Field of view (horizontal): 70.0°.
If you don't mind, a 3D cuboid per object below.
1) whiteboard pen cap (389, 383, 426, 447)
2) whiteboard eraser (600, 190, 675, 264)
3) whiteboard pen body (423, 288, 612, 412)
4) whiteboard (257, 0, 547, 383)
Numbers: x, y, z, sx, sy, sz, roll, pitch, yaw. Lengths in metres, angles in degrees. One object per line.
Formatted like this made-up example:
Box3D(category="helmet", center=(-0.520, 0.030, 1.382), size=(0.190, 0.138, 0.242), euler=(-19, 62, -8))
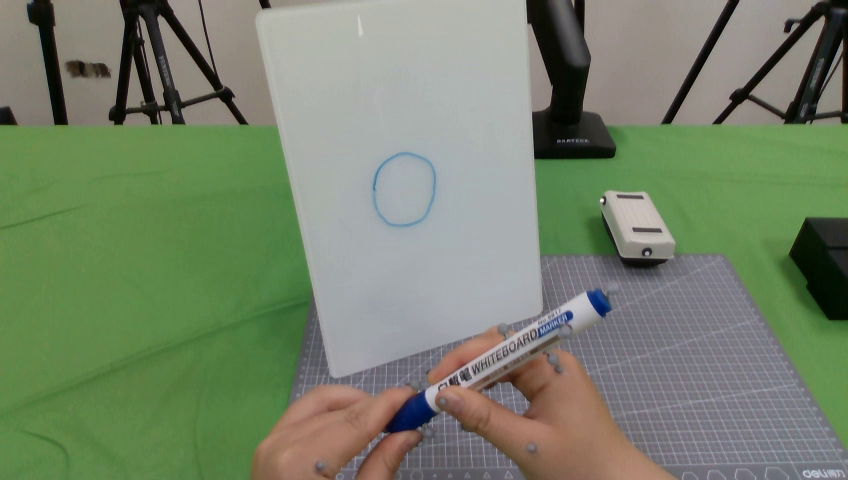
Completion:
Box3D(category="whiteboard pen cap", center=(-0.009, 0.100, 0.346), size=(0.018, 0.033, 0.018), euler=(16, 1, 0))
Box3D(category="whiteboard eraser", center=(0.237, -0.015, 0.681), size=(0.055, 0.042, 0.111), euler=(0, 34, 2))
Box3D(category="whiteboard pen body", center=(0.039, 0.066, 0.327), size=(0.141, 0.017, 0.017), euler=(-36, 31, 23))
Box3D(category="whiteboard", center=(-0.022, -0.061, 0.567), size=(0.218, 0.307, 0.142), euler=(-14, 21, -17))
